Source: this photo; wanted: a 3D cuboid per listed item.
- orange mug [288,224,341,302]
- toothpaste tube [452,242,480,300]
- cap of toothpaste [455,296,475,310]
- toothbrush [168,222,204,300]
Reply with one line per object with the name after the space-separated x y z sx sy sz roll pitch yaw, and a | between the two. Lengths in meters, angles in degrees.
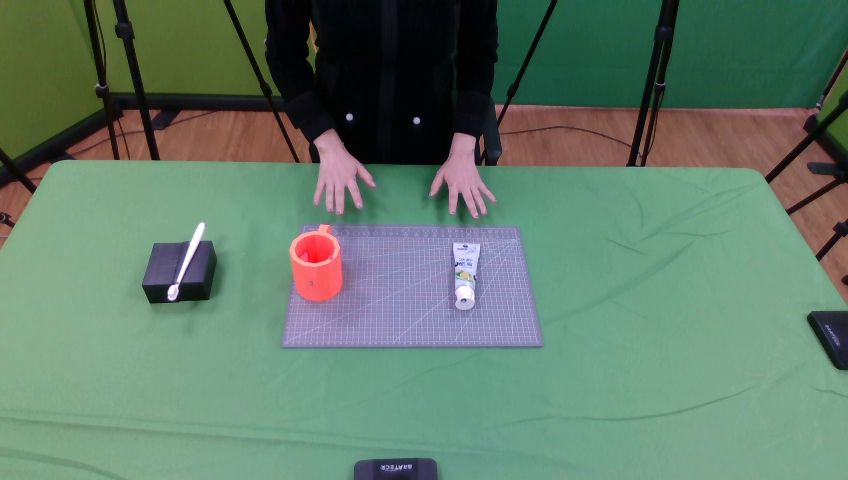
-0.192 0.034 1.094 0.083 0.101 0.125 7 50 2 | orange mug
0.079 0.058 1.142 0.055 0.034 0.164 9 42 -4 | toothpaste tube
0.072 0.111 1.081 0.037 0.037 0.011 -2 47 -6 | cap of toothpaste
-0.419 0.032 1.070 0.014 0.017 0.180 2 46 1 | toothbrush
